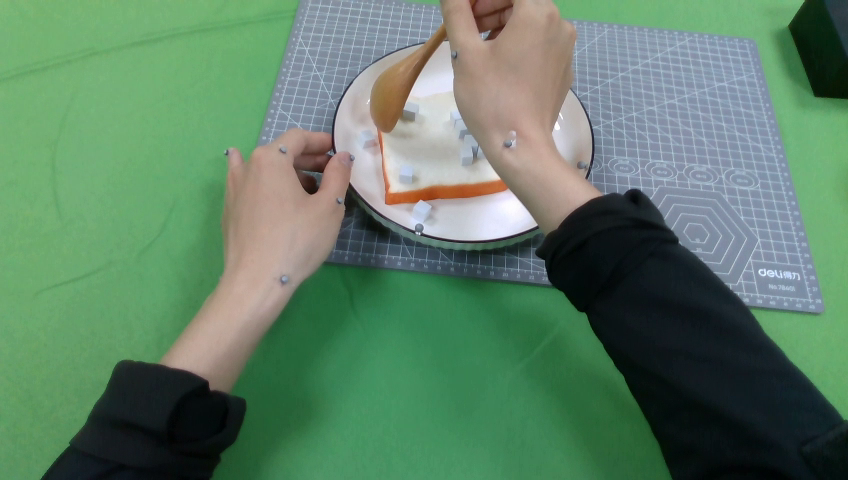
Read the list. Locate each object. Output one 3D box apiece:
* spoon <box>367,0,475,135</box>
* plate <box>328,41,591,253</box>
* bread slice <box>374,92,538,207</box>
[{"bbox_3d":[0.009,-0.145,0.418,0.022,0.194,0.041,2,53,-44],"label":"spoon"},{"bbox_3d":[0.028,-0.076,0.490,0.209,0.038,0.207,2,60,-2],"label":"plate"},{"bbox_3d":[0.026,-0.080,0.495,0.132,0.019,0.104,-7,61,-7],"label":"bread slice"}]
